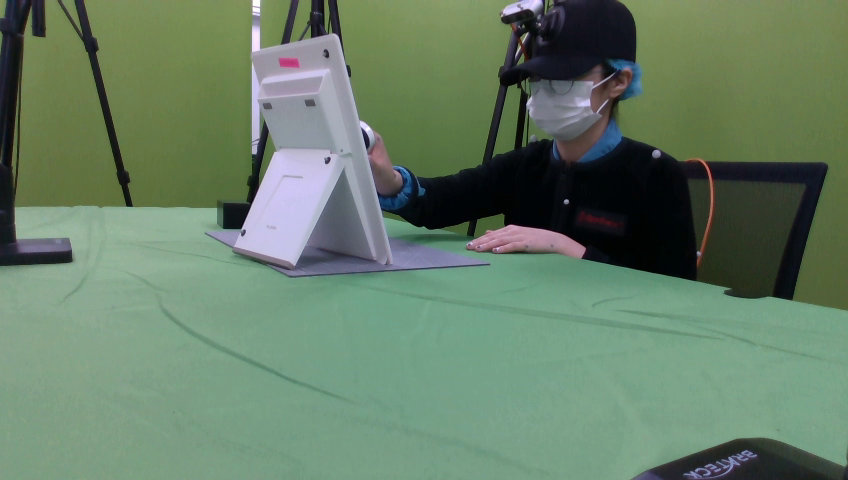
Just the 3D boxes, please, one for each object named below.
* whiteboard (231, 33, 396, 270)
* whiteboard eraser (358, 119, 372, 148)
[{"bbox_3d":[-0.193,-0.094,0.805,0.144,0.305,0.216,-29,25,-35],"label":"whiteboard"},{"bbox_3d":[-0.105,-0.138,0.875,0.019,0.041,0.101,-41,-1,-36],"label":"whiteboard eraser"}]
